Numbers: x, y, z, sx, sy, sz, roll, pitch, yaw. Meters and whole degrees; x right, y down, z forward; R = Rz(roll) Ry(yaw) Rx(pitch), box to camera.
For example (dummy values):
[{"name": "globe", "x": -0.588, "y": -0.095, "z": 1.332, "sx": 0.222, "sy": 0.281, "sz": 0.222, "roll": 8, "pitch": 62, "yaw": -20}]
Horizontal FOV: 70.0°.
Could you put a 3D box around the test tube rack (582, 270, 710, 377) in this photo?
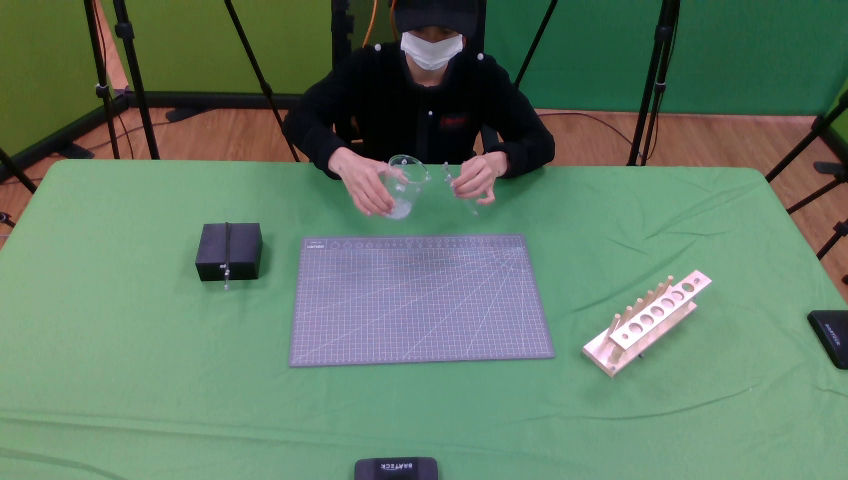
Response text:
[{"name": "test tube rack", "x": 0.389, "y": 0.132, "z": 1.057, "sx": 0.242, "sy": 0.085, "sz": 0.066, "roll": -28, "pitch": 54, "yaw": -28}]

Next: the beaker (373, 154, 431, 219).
[{"name": "beaker", "x": -0.042, "y": -0.093, "z": 1.088, "sx": 0.084, "sy": 0.100, "sz": 0.073, "roll": 15, "pitch": 43, "yaw": -15}]

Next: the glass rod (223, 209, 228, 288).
[{"name": "glass rod", "x": -0.361, "y": 0.011, "z": 1.098, "sx": 0.008, "sy": 0.008, "sz": 0.198, "roll": -7, "pitch": 47, "yaw": -12}]

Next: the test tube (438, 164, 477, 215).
[{"name": "test tube", "x": 0.066, "y": -0.091, "z": 1.138, "sx": 0.017, "sy": 0.151, "sz": 0.017, "roll": -17, "pitch": 51, "yaw": 22}]
